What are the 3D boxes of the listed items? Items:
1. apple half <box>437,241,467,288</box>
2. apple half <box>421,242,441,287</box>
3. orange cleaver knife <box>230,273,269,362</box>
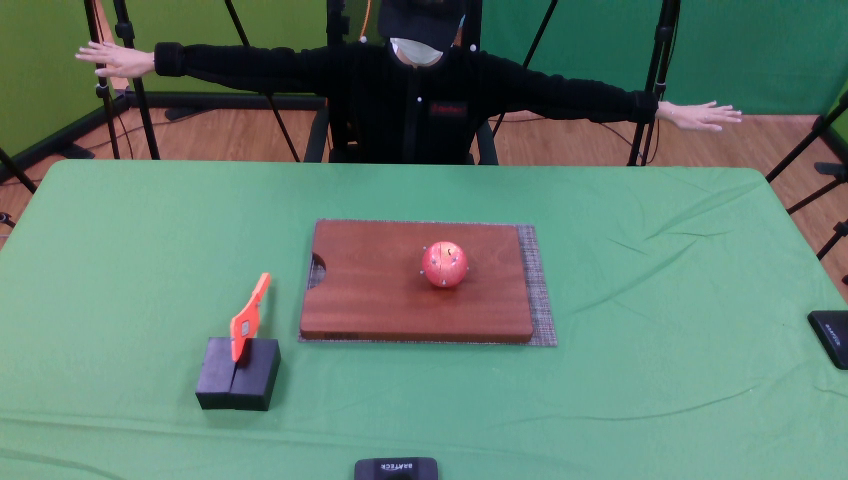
[{"bbox_3d":[0.049,0.047,1.083,0.053,0.075,0.080,3,41,-6],"label":"apple half"},{"bbox_3d":[0.010,0.045,1.079,0.033,0.081,0.081,3,45,-6],"label":"apple half"},{"bbox_3d":[-0.290,0.124,1.014,0.012,0.077,0.210,1,23,1],"label":"orange cleaver knife"}]
